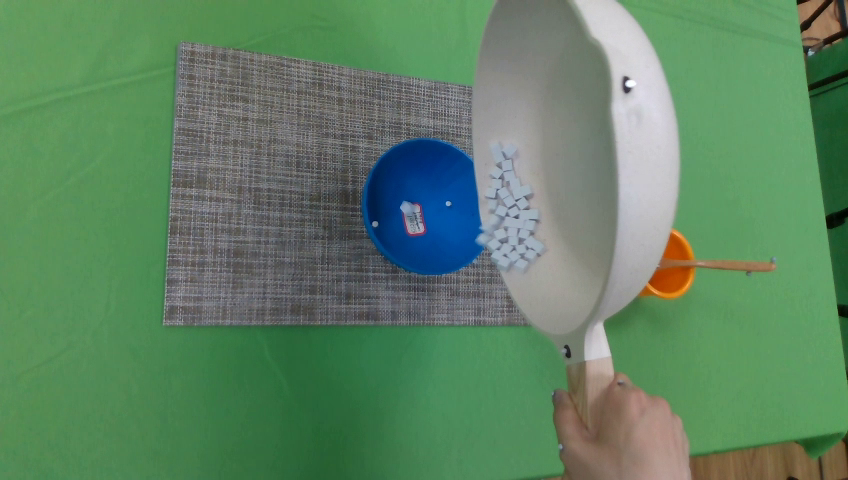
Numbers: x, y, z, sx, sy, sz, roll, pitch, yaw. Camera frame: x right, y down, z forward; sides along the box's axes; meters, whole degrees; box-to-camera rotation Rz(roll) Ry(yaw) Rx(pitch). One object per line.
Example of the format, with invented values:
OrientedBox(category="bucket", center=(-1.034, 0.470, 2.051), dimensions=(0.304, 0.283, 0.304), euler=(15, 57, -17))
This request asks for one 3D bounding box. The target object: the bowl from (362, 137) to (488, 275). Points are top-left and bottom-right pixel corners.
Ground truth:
OrientedBox(category="bowl", center=(-0.004, -0.031, 0.676), dimensions=(0.152, 0.076, 0.151), euler=(4, 80, -21))

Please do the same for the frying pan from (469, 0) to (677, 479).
OrientedBox(category="frying pan", center=(0.117, 0.034, 0.481), dimensions=(0.103, 0.307, 0.485), euler=(-1, 76, -8))

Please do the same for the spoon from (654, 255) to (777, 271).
OrientedBox(category="spoon", center=(0.336, 0.029, 0.766), dimensions=(0.022, 0.193, 0.041), euler=(32, 63, -61))
